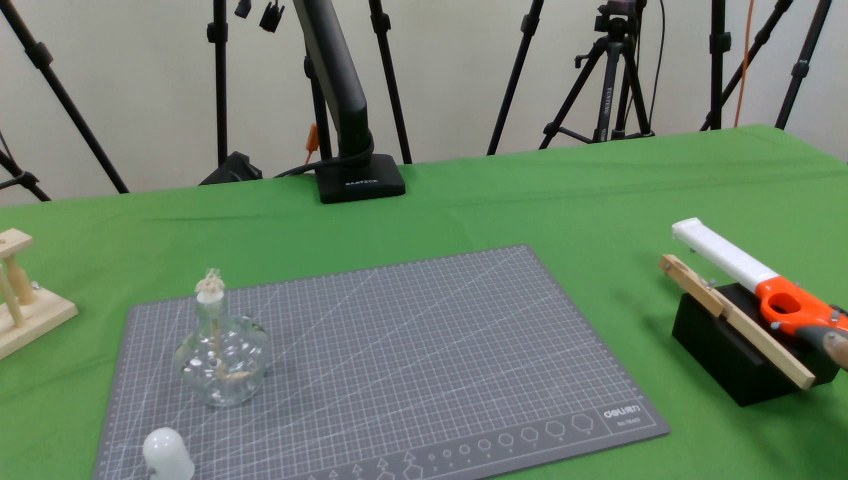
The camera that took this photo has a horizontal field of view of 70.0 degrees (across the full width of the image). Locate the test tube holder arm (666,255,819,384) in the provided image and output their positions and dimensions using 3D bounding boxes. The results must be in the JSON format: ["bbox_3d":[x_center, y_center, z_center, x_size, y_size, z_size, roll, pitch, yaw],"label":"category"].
[{"bbox_3d":[0.272,0.063,0.538,0.013,0.015,0.176,-10,33,-19],"label":"test tube holder arm"}]

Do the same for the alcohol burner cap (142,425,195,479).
[{"bbox_3d":[-0.193,0.159,0.451,0.034,0.048,0.033,0,32,0],"label":"alcohol burner cap"}]

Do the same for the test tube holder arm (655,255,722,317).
[{"bbox_3d":[0.251,0.042,0.572,0.010,0.015,0.087,-10,33,-18],"label":"test tube holder arm"}]

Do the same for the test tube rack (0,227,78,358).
[{"bbox_3d":[-0.448,0.086,0.532,0.066,0.086,0.242,18,36,26],"label":"test tube rack"}]

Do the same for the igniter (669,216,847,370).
[{"bbox_3d":[0.321,0.047,0.556,0.057,0.025,0.273,-17,32,-8],"label":"igniter"}]

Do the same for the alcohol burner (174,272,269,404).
[{"bbox_3d":[-0.173,0.079,0.510,0.078,0.120,0.077,0,31,0],"label":"alcohol burner"}]
